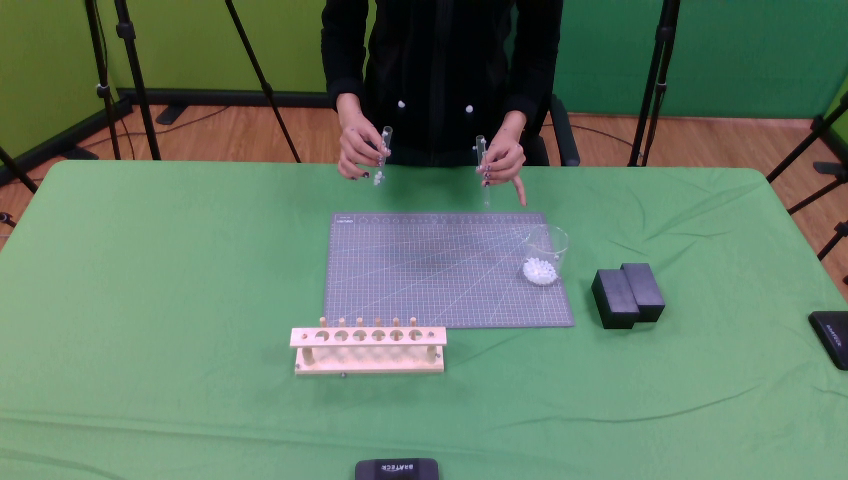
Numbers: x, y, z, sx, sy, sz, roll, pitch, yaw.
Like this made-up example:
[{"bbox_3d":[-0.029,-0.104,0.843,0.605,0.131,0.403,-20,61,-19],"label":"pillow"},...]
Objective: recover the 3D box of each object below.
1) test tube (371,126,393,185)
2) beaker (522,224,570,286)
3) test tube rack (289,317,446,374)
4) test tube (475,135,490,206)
[{"bbox_3d":[-0.077,-0.148,1.087,0.017,0.151,0.017,8,54,-11],"label":"test tube"},{"bbox_3d":[0.221,0.032,1.129,0.084,0.101,0.073,-6,46,-9],"label":"beaker"},{"bbox_3d":[-0.089,0.167,0.988,0.242,0.085,0.066,0,46,-4],"label":"test tube rack"},{"bbox_3d":[0.108,-0.124,1.111,0.017,0.151,0.017,-6,39,5],"label":"test tube"}]
